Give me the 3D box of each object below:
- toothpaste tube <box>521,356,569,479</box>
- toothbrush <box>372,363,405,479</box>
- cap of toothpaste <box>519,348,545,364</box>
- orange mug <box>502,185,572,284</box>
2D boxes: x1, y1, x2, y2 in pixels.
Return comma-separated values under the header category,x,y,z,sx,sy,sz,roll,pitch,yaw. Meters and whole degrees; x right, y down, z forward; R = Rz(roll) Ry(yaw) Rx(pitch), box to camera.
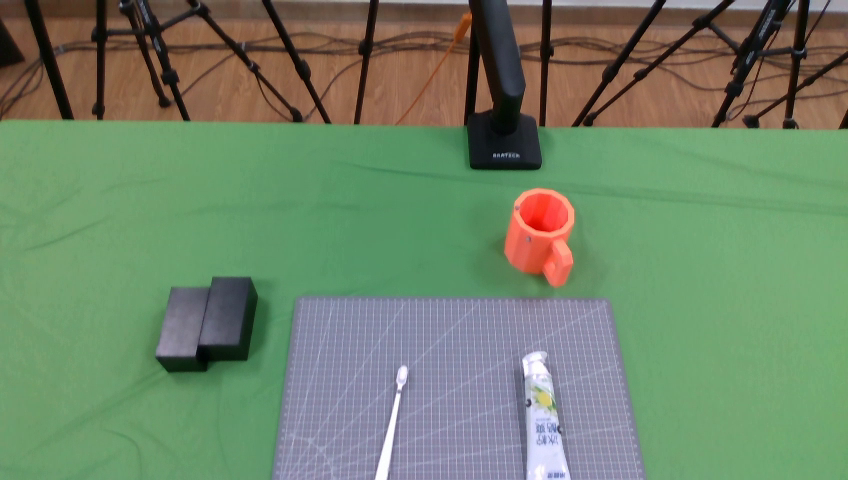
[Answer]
category,x,y,z,sx,sy,sz,roll,pitch,yaw
toothpaste tube,0.144,0.225,0.759,0.055,0.035,0.163,-4,60,4
toothbrush,-0.044,0.236,0.749,0.014,0.017,0.180,16,58,-8
cap of toothpaste,0.143,0.154,0.799,0.037,0.037,0.011,-10,55,-9
orange mug,0.170,-0.003,0.873,0.083,0.102,0.125,-18,54,-13
